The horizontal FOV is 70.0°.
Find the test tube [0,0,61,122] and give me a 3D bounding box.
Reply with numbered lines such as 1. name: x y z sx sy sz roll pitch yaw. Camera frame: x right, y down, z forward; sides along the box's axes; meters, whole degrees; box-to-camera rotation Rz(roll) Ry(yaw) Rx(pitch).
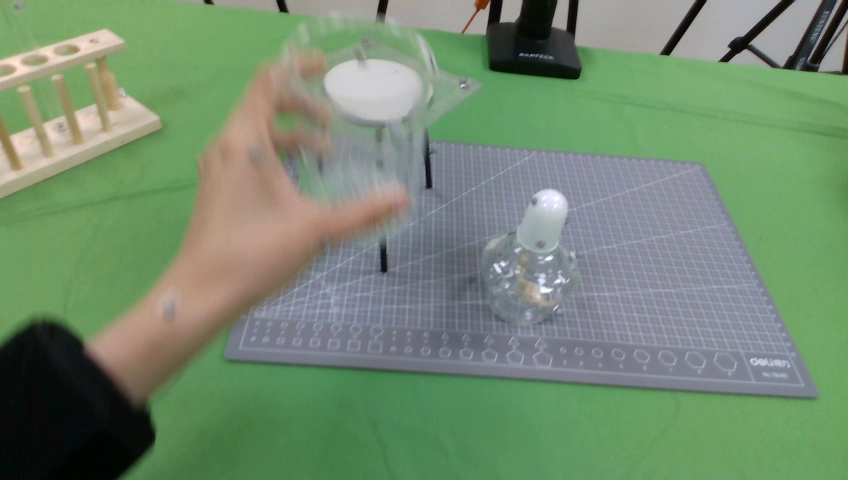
1. test tube: -0.354 -0.172 0.537 0.017 0.151 0.017 2 42 -1

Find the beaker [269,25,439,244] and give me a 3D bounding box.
1. beaker: -0.039 -0.052 0.333 0.084 0.101 0.073 -13 53 -19

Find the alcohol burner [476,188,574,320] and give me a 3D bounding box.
1. alcohol burner: 0.081 0.006 0.465 0.078 0.120 0.077 5 43 -5

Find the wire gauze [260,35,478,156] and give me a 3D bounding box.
1. wire gauze: -0.040 -0.121 0.466 0.124 0.011 0.121 35 51 23

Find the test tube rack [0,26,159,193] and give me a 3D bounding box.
1. test tube rack: -0.371 -0.104 0.537 0.066 0.086 0.242 33 50 24

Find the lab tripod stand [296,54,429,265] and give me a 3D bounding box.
1. lab tripod stand: -0.044 -0.074 0.514 0.148 0.132 0.147 5 45 -5

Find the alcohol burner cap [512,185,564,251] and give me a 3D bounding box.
1. alcohol burner cap: 0.085 -0.018 0.438 0.034 0.048 0.033 4 49 -4
